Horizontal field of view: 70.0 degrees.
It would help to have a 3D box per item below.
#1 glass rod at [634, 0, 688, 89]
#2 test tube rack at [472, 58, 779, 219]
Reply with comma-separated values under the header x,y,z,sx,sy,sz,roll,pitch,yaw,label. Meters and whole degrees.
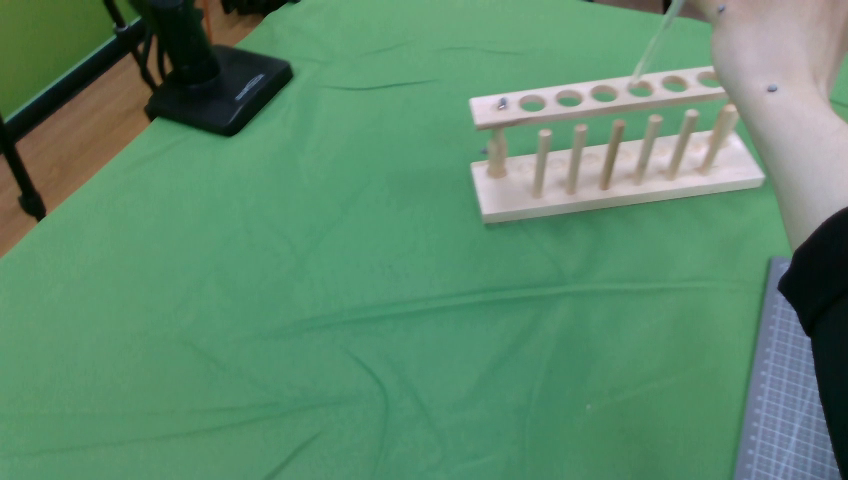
x,y,z,sx,sy,sz,roll,pitch,yaw,label
0.180,-0.172,0.406,0.008,0.201,0.008,2,61,-4,glass rod
0.165,-0.084,0.509,0.242,0.086,0.066,-7,51,-1,test tube rack
